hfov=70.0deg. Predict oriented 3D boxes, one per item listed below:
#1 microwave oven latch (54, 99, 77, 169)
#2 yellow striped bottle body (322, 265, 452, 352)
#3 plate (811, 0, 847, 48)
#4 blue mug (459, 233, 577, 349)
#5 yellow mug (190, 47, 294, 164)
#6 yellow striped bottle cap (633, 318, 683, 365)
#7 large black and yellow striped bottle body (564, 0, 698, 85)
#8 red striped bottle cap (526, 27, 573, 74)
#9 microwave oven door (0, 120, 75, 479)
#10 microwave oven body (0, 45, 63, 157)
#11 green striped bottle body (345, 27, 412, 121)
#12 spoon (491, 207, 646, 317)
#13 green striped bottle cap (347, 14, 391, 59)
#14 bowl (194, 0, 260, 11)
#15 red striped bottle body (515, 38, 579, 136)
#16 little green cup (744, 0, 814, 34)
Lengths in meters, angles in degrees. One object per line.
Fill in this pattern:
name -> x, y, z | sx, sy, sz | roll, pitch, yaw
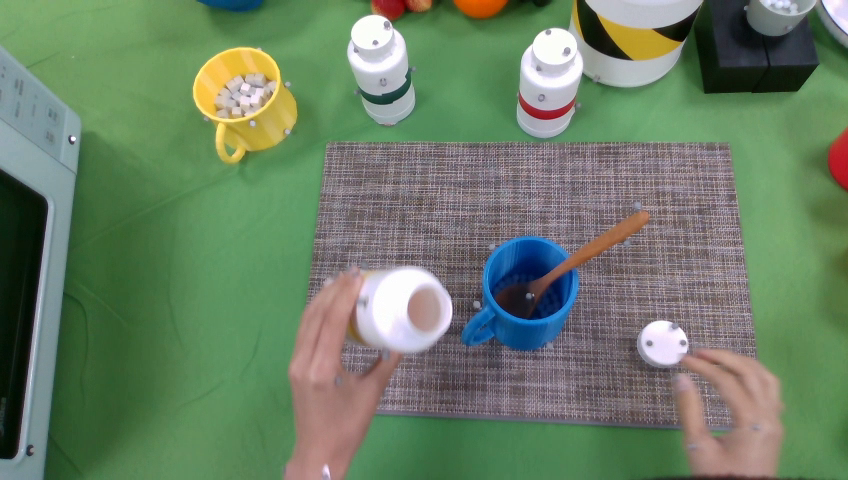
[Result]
microwave oven latch -> -0.424, -0.121, 0.701 | 0.030, 0.030, 0.078 | -6, 70, 3
yellow striped bottle body -> -0.027, 0.051, 0.460 | 0.063, 0.120, 0.062 | 3, 83, -30
plate -> 0.544, -0.280, 0.690 | 0.209, 0.038, 0.207 | -2, 70, 5
blue mug -> 0.081, 0.060, 0.566 | 0.116, 0.106, 0.081 | -34, 69, -8
yellow mug -> -0.212, -0.148, 0.696 | 0.100, 0.064, 0.130 | 10, 71, 9
yellow striped bottle cap -> 0.227, 0.098, 0.586 | 0.044, 0.019, 0.044 | -2, 69, 4
large black and yellow striped bottle body -> 0.222, -0.267, 0.637 | 0.130, 0.185, 0.130 | -2, 69, 5
red striped bottle cap -> 0.124, -0.186, 0.594 | 0.044, 0.018, 0.044 | 0, 68, 1
microwave oven door -> -0.411, 0.045, 0.529 | 0.039, 0.245, 0.353 | -8, 69, 3
microwave oven body -> -0.560, 0.028, 0.554 | 0.326, 0.262, 0.438 | -8, 70, 2
green striped bottle body -> -0.050, -0.189, 0.668 | 0.063, 0.120, 0.062 | -2, 69, 4
spoon -> 0.117, 0.026, 0.529 | 0.022, 0.194, 0.041 | -1, 62, -33
green striped bottle cap -> -0.056, -0.208, 0.619 | 0.044, 0.020, 0.044 | -1, 70, 3
bowl -> -0.247, -0.347, 0.768 | 0.151, 0.077, 0.150 | -2, 69, 4
red striped bottle body -> 0.129, -0.167, 0.642 | 0.063, 0.120, 0.062 | -2, 68, 7
little green cup -> 0.373, -0.252, 0.641 | 0.061, 0.039, 0.061 | -1, 67, 3
